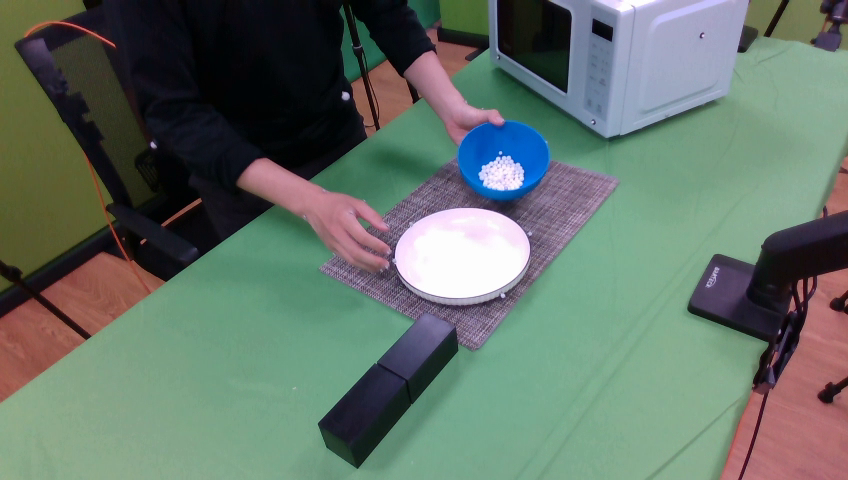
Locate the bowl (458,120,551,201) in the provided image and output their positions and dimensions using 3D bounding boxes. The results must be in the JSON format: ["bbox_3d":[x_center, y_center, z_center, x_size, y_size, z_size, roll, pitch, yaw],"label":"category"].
[{"bbox_3d":[0.131,-0.117,1.002,0.151,0.077,0.150,-2,58,3],"label":"bowl"}]

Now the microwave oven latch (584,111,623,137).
[{"bbox_3d":[0.337,-0.222,1.142,0.030,0.029,0.078,-21,42,-14],"label":"microwave oven latch"}]

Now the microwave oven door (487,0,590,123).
[{"bbox_3d":[0.232,-0.420,1.230,0.039,0.245,0.352,-22,43,-16],"label":"microwave oven door"}]

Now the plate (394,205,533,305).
[{"bbox_3d":[0.059,0.025,0.915,0.207,0.039,0.206,-4,41,4],"label":"plate"}]

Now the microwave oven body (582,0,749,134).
[{"bbox_3d":[0.382,-0.445,1.246,0.327,0.261,0.437,-22,42,-16],"label":"microwave oven body"}]
